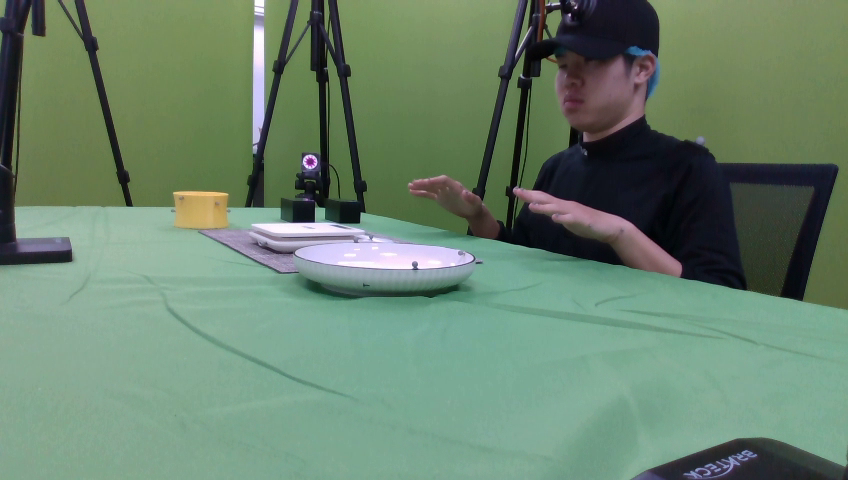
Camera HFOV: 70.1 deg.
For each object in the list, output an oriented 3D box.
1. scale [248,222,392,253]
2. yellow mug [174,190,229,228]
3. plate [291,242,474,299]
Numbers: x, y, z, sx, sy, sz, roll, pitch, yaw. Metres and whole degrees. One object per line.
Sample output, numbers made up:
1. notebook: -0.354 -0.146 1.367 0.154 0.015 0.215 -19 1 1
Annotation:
1. scale: -0.162 -0.006 0.954 0.202 0.031 0.148 -1 9 -32
2. yellow mug: -0.427 -0.063 1.189 0.100 0.064 0.131 5 7 13
3. plate: -0.047 0.033 0.693 0.209 0.038 0.209 3 7 0
